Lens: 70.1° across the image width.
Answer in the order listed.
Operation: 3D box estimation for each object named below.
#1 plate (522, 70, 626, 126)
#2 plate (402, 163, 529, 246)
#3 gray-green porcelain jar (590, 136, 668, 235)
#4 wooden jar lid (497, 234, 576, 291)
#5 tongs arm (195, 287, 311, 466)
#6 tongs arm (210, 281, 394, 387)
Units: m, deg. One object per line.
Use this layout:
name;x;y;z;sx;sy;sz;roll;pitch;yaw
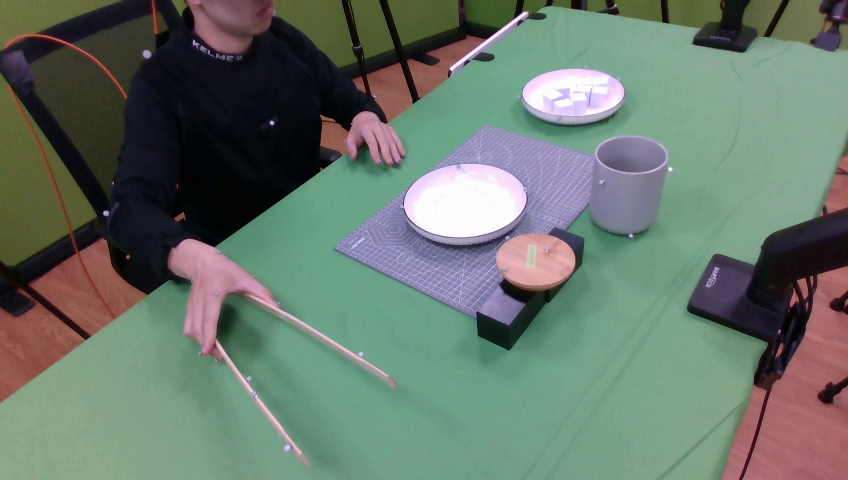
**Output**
plate;0.308;-0.290;1.251;0.207;0.039;0.206;-4;40;4
plate;0.069;-0.056;1.008;0.209;0.038;0.208;-4;40;4
gray-green porcelain jar;0.314;-0.080;0.937;0.106;0.127;0.105;-4;41;4
wooden jar lid;0.154;0.032;0.834;0.108;0.021;0.108;-5;40;5
tongs arm;-0.219;0.152;0.761;0.051;0.027;0.381;-40;39;-20
tongs arm;-0.173;0.113;0.786;0.384;0.028;0.028;17;57;42
